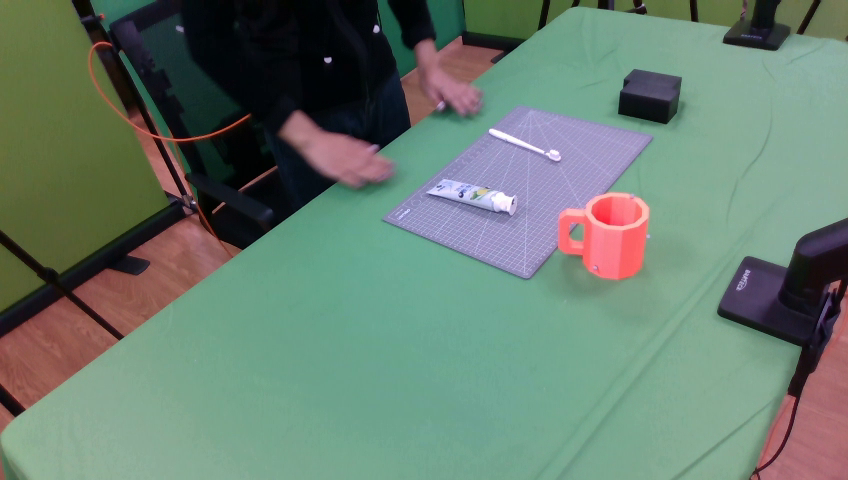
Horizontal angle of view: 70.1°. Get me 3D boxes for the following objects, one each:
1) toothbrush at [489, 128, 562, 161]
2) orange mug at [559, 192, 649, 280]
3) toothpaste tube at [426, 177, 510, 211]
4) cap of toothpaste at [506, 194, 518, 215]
[{"bbox_3d":[0.191,-0.188,1.167,0.014,0.017,0.180,-45,49,-16],"label":"toothbrush"},{"bbox_3d":[0.261,-0.008,0.884,0.126,0.101,0.083,9,43,14],"label":"orange mug"},{"bbox_3d":[0.083,-0.082,1.054,0.164,0.034,0.055,18,40,34],"label":"toothpaste tube"},{"bbox_3d":[0.146,-0.060,1.008,0.011,0.037,0.037,14,46,22],"label":"cap of toothpaste"}]
